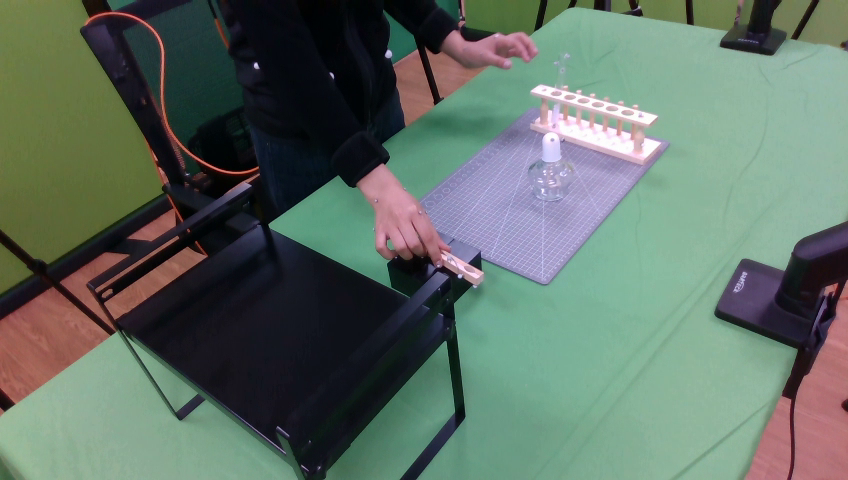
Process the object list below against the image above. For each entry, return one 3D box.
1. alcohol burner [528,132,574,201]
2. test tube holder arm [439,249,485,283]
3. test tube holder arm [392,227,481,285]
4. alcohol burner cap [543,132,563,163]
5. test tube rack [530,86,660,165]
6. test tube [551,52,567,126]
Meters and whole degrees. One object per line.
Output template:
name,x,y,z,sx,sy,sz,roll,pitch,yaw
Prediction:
alcohol burner,0.214,-0.126,1.016,0.078,0.119,0.077,-5,38,5
test tube holder arm,0.050,0.036,0.854,0.087,0.015,0.010,29,41,36
test tube holder arm,0.014,0.021,0.876,0.177,0.015,0.013,28,41,36
alcohol burner cap,0.211,-0.154,0.994,0.034,0.048,0.033,-7,35,6
test tube rack,0.320,-0.226,1.140,0.240,0.085,0.067,27,51,34
test tube,0.253,-0.282,1.138,0.017,0.151,0.017,-2,44,2
